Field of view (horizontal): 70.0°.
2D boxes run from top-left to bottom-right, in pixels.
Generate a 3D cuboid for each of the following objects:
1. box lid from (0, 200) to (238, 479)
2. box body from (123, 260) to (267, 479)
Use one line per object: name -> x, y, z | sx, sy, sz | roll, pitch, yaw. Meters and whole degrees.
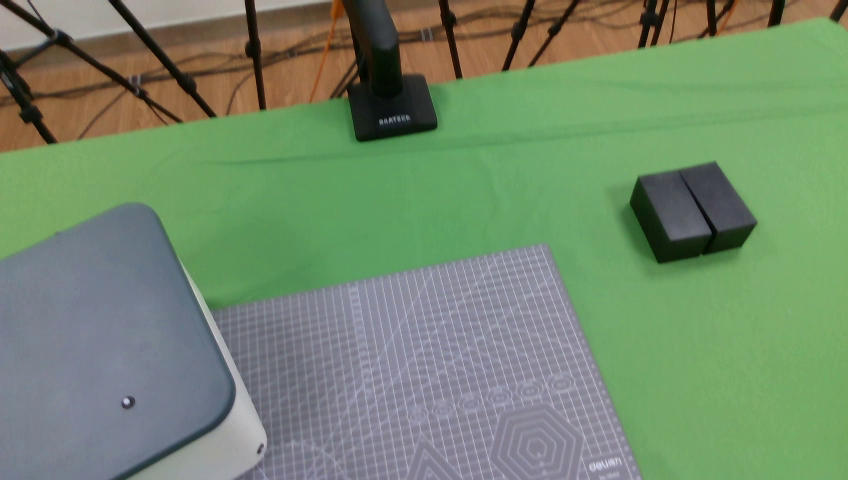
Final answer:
box lid -> -0.362, 0.125, 0.500 | 0.372, 0.015, 0.260 | -28, 60, -15
box body -> -0.360, 0.168, 0.562 | 0.364, 0.162, 0.251 | -28, 59, -15
